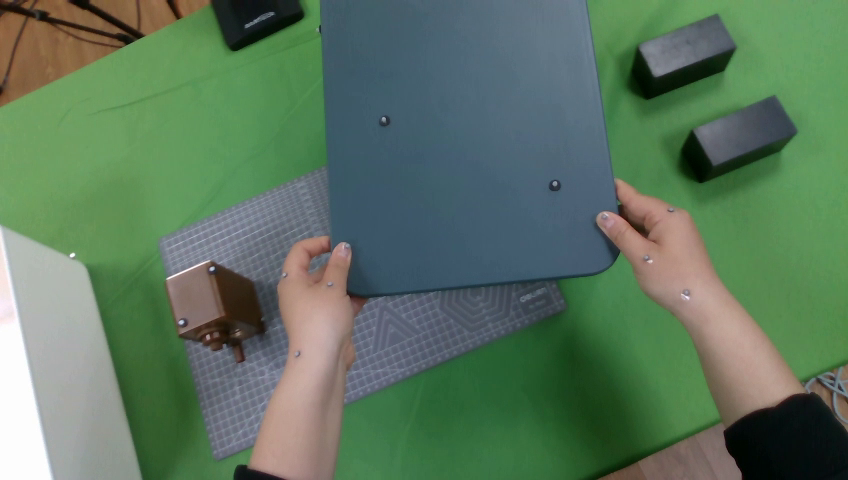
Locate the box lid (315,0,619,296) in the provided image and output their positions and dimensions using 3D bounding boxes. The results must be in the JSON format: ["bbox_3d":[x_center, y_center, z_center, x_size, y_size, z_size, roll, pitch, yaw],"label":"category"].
[{"bbox_3d":[0.029,-0.140,0.577,0.263,0.015,0.369,-7,77,6],"label":"box lid"}]

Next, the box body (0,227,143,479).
[{"bbox_3d":[-0.506,0.199,0.693,0.254,0.161,0.361,-26,72,1],"label":"box body"}]

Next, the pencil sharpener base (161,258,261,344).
[{"bbox_3d":[-0.244,0.077,0.707,0.061,0.108,0.076,-23,72,2],"label":"pencil sharpener base"}]

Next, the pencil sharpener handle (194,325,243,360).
[{"bbox_3d":[-0.226,0.118,0.680,0.036,0.068,0.030,-25,71,8],"label":"pencil sharpener handle"}]
